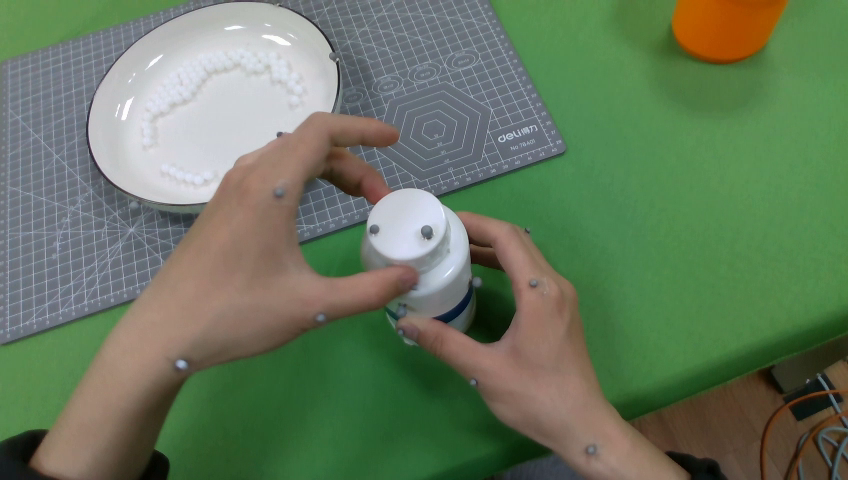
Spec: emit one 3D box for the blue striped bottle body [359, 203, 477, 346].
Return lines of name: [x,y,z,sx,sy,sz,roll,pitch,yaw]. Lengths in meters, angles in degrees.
blue striped bottle body: [-0.002,0.018,0.370,0.063,0.122,0.062,-3,62,7]

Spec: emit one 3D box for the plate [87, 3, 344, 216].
plate: [-0.165,-0.106,0.496,0.207,0.039,0.206,-3,63,6]

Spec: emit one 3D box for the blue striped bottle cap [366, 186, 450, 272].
blue striped bottle cap: [-0.008,-0.006,0.324,0.044,0.021,0.044,-2,66,5]
